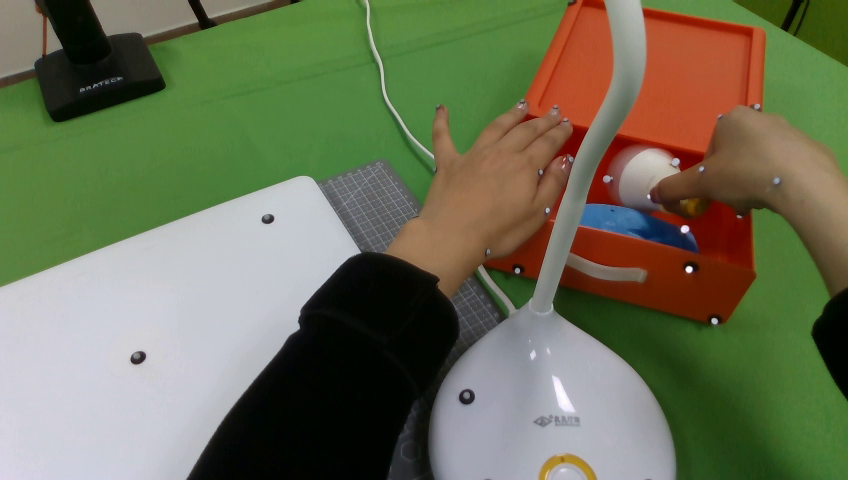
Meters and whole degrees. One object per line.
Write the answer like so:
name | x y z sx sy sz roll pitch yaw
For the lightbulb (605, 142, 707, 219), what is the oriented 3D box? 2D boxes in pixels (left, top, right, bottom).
lightbulb | 0.191 -0.044 0.494 0.059 0.060 0.106 -13 25 -10

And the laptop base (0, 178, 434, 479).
laptop base | -0.199 0.090 0.440 0.355 0.023 0.233 -24 57 -18

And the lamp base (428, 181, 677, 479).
lamp base | 0.080 0.069 0.346 0.161 0.182 0.177 -9 48 -9

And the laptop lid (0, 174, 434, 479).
laptop lid | -0.198 0.085 0.430 0.357 0.013 0.239 -23 56 -17

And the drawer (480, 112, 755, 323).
drawer | 0.169 -0.051 0.517 0.194 0.074 0.210 14 51 13

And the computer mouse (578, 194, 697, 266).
computer mouse | 0.162 0.000 0.484 0.117 0.041 0.062 16 46 2

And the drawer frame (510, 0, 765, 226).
drawer frame | 0.207 -0.133 0.581 0.201 0.083 0.212 15 51 14
